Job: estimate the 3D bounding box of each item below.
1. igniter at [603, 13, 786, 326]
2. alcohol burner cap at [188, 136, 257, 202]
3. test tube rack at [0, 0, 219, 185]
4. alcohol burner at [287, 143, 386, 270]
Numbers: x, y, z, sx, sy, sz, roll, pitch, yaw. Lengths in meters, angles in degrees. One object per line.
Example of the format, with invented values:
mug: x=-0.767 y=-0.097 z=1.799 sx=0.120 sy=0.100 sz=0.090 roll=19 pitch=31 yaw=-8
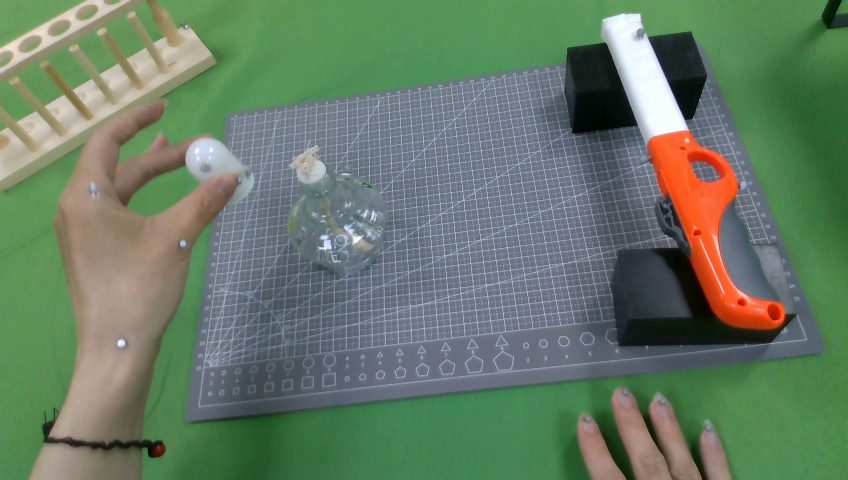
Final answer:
igniter: x=0.178 y=-0.064 z=0.425 sx=0.057 sy=0.025 sz=0.274 roll=-11 pitch=58 yaw=4
alcohol burner cap: x=-0.136 y=-0.050 z=0.404 sx=0.034 sy=0.048 sz=0.033 roll=-4 pitch=66 yaw=10
test tube rack: x=-0.335 y=-0.163 z=0.590 sx=0.242 sy=0.086 sz=0.066 roll=-35 pitch=61 yaw=-11
alcohol burner: x=-0.069 y=-0.028 z=0.451 sx=0.078 sy=0.120 sz=0.077 roll=-5 pitch=58 yaw=8
